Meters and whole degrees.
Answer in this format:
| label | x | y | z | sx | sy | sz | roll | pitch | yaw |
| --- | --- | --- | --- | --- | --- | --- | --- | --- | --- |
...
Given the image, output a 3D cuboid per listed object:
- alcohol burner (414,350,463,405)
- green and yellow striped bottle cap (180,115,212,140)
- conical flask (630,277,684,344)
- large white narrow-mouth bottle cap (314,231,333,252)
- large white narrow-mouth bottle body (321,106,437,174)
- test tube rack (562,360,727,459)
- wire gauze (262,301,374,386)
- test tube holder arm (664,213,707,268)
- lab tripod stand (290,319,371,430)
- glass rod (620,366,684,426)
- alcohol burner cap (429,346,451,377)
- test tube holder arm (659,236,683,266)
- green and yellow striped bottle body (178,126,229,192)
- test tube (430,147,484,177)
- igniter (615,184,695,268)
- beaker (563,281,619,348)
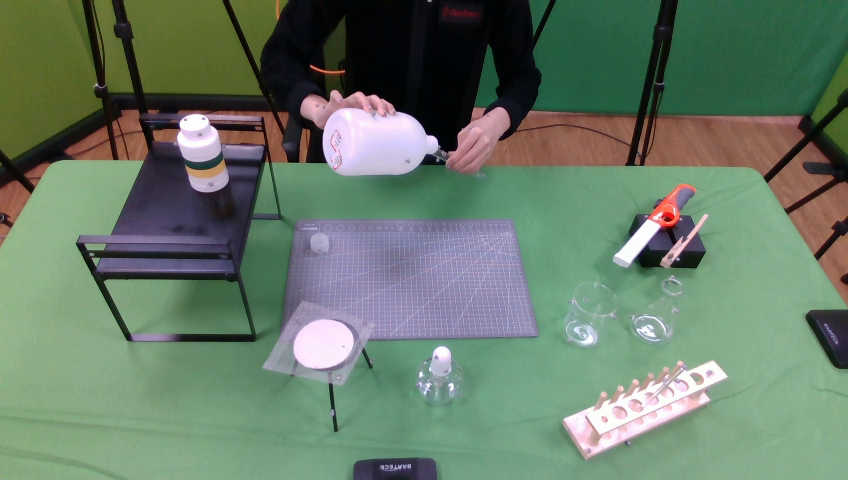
| label | x | y | z | sx | sy | sz | roll | pitch | yaw |
| --- | --- | --- | --- | --- | --- | --- | --- | --- | --- |
| alcohol burner | 0.023 | 0.205 | 0.939 | 0.078 | 0.120 | 0.077 | 1 | 48 | -1 |
| green and yellow striped bottle cap | -0.358 | -0.177 | 0.951 | 0.045 | 0.020 | 0.045 | 2 | 45 | -2 |
| conical flask | 0.408 | 0.117 | 1.045 | 0.075 | 0.122 | 0.075 | 2 | 46 | -2 |
| large white narrow-mouth bottle cap | -0.195 | 0.003 | 1.178 | 0.038 | 0.024 | 0.037 | 2 | 45 | -2 |
| large white narrow-mouth bottle body | -0.060 | -0.157 | 0.974 | 0.195 | 0.102 | 0.101 | -5 | 43 | -40 |
| test tube rack | 0.341 | 0.247 | 0.940 | 0.243 | 0.085 | 0.066 | -16 | 49 | -18 |
| wire gauze | -0.150 | 0.148 | 0.873 | 0.121 | 0.011 | 0.124 | 14 | 46 | 12 |
| test tube holder arm | 0.507 | -0.001 | 1.171 | 0.013 | 0.015 | 0.178 | 34 | 54 | 26 |
| lab tripod stand | -0.146 | 0.194 | 0.923 | 0.148 | 0.132 | 0.147 | 1 | 47 | -1 |
| glass rod | 0.323 | 0.227 | 0.866 | 0.008 | 0.200 | 0.008 | 5 | 51 | -6 |
| alcohol burner cap | 0.026 | 0.180 | 0.912 | 0.034 | 0.048 | 0.033 | 1 | 47 | -1 |
| test tube holder arm | 0.472 | 0.020 | 1.149 | 0.010 | 0.015 | 0.088 | 35 | 54 | 27 |
| green and yellow striped bottle body | -0.361 | -0.142 | 0.989 | 0.063 | 0.120 | 0.063 | 2 | 46 | -2 |
| test tube | 0.061 | -0.141 | 1.093 | 0.151 | 0.017 | 0.017 | 18 | 29 | -47 |
| igniter | 0.459 | -0.035 | 1.196 | 0.057 | 0.025 | 0.276 | 33 | 55 | 27 |
| beaker | 0.283 | 0.129 | 1.041 | 0.074 | 0.101 | 0.083 | 11 | 46 | 7 |
